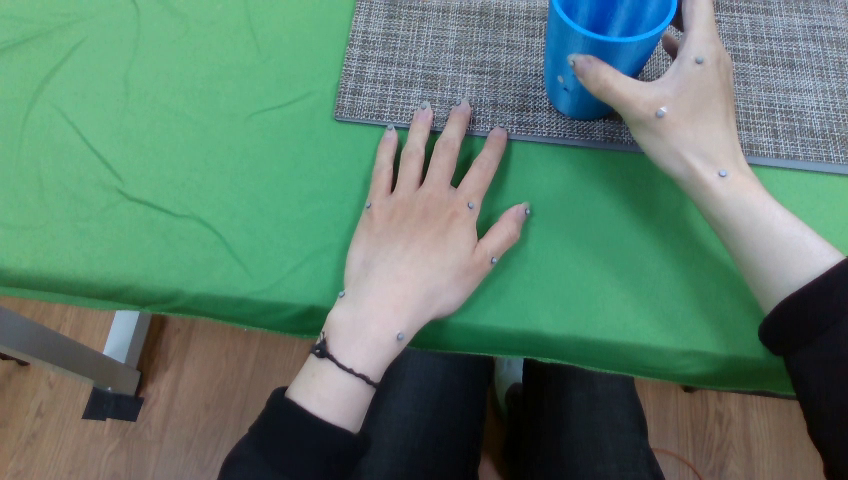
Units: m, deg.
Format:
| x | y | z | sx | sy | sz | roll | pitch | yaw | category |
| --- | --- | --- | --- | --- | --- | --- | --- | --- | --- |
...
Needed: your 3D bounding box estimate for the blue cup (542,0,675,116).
| x | y | z | sx | sy | sz | roll | pitch | yaw | category |
| --- | --- | --- | --- | --- | --- | --- | --- | --- | --- |
| 0.126 | -0.145 | 0.449 | 0.092 | 0.101 | 0.092 | -1 | 66 | 2 | blue cup |
